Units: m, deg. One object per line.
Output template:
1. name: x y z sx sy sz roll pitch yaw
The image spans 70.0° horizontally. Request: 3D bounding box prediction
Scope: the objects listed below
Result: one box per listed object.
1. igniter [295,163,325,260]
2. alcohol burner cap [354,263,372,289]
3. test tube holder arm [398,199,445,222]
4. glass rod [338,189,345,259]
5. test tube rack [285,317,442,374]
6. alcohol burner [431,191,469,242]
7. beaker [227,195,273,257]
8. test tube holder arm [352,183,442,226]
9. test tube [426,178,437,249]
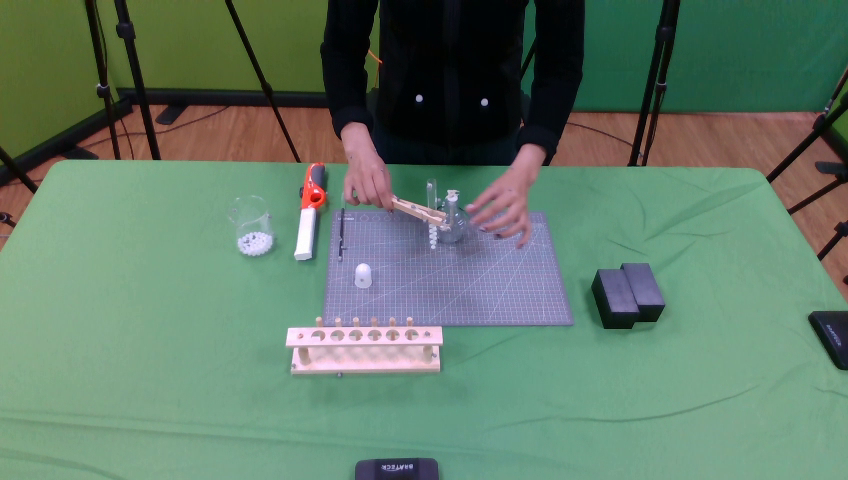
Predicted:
1. igniter: -0.234 -0.068 1.243 0.057 0.025 0.274 -6 46 4
2. alcohol burner cap: -0.113 0.063 1.111 0.034 0.048 0.033 2 46 -2
3. test tube holder arm: -0.006 -0.051 1.041 0.087 0.015 0.010 17 43 13
4. glass rod: -0.166 -0.036 1.227 0.008 0.008 0.198 -1 46 -4
5. test tube rack: -0.095 0.166 0.988 0.242 0.085 0.066 0 46 -4
6. alcohol burner: 0.052 -0.052 1.185 0.078 0.119 0.077 2 48 -2
7. beaker: -0.326 -0.022 1.142 0.074 0.101 0.083 10 47 6
8. test tube holder arm: -0.049 -0.063 1.049 0.178 0.015 0.013 22 43 18
9. test tube: 0.013 -0.042 1.030 0.017 0.151 0.017 -2 42 2
